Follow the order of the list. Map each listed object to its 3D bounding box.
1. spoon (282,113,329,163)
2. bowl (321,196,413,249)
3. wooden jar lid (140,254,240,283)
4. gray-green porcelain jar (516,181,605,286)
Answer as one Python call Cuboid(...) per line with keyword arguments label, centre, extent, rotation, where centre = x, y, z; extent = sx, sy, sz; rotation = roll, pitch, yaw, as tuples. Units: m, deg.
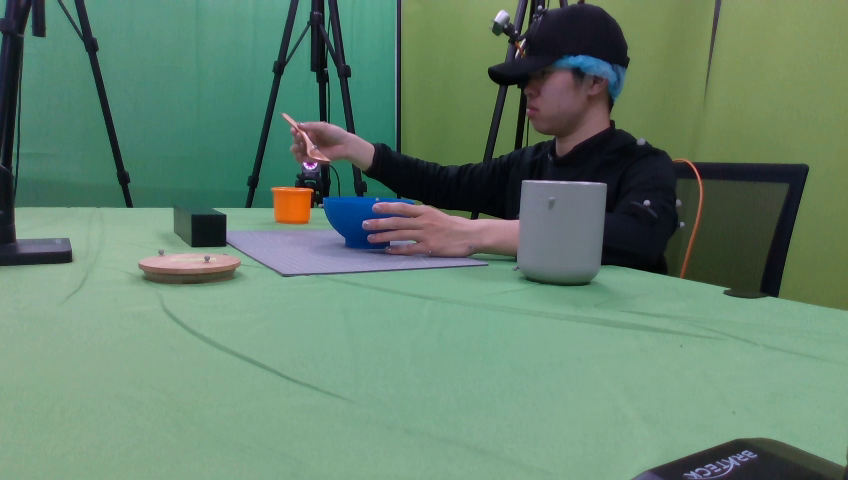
Cuboid(label="spoon", centre=(-0.245, -0.209, 1.228), extent=(0.042, 0.021, 0.193), rotation=(0, 41, -42))
Cuboid(label="bowl", centre=(-0.094, -0.029, 0.992), extent=(0.151, 0.077, 0.151), rotation=(3, 7, 0))
Cuboid(label="wooden jar lid", centre=(-0.269, 0.032, 0.698), extent=(0.108, 0.020, 0.108), rotation=(2, 5, 0))
Cuboid(label="gray-green porcelain jar", centre=(0.171, -0.010, 0.768), extent=(0.106, 0.126, 0.106), rotation=(2, 7, 0))
